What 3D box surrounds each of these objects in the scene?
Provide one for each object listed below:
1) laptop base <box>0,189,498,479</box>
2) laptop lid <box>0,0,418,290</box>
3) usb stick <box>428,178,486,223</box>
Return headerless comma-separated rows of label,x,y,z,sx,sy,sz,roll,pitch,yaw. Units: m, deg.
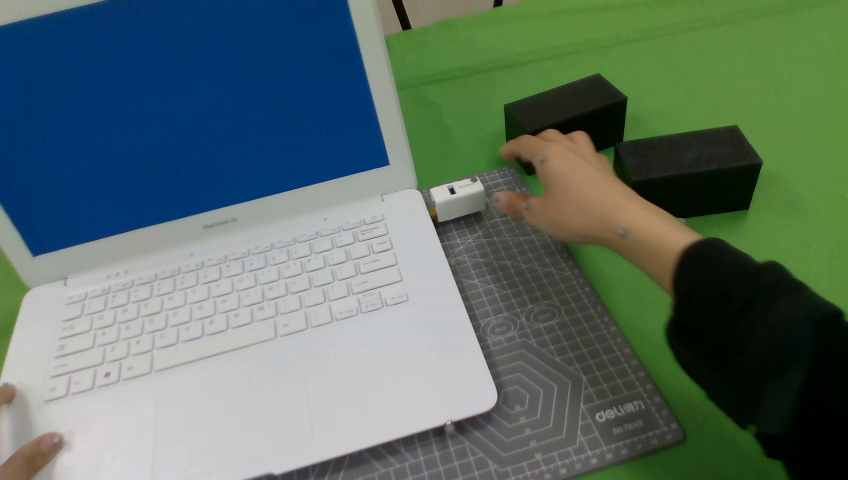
laptop base,-0.145,0.081,0.462,0.354,0.023,0.233,-15,48,-5
laptop lid,-0.196,-0.097,0.485,0.357,0.244,0.013,-17,30,-4
usb stick,0.023,-0.033,0.527,0.059,0.027,0.021,-17,44,-4
